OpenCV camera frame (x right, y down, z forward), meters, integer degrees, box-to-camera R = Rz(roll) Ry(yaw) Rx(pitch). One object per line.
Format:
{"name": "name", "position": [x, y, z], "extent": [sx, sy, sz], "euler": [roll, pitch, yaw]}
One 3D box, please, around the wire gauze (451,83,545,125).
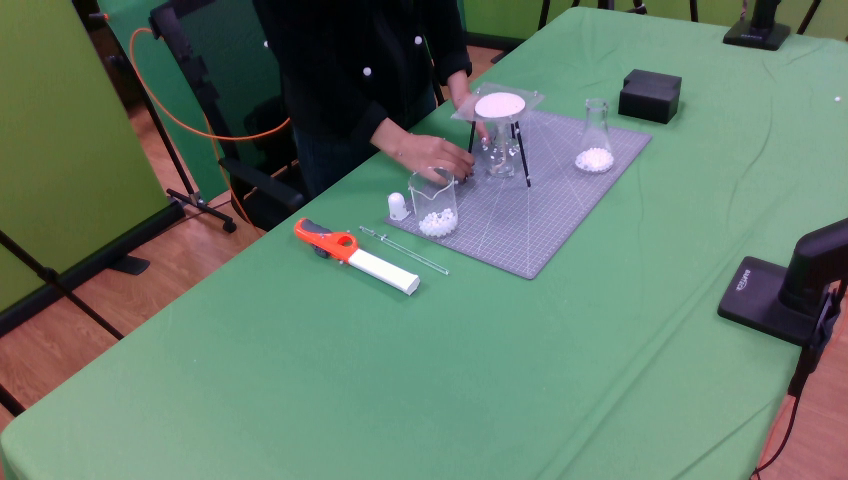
{"name": "wire gauze", "position": [0.127, -0.233, 1.038], "extent": [0.120, 0.011, 0.125], "euler": [18, 47, 29]}

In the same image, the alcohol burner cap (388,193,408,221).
{"name": "alcohol burner cap", "position": [-0.047, -0.060, 1.043], "extent": [0.034, 0.048, 0.033], "euler": [-6, 41, 5]}

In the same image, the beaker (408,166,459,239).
{"name": "beaker", "position": [0.018, -0.057, 0.984], "extent": [0.074, 0.101, 0.083], "euler": [-6, 41, 5]}

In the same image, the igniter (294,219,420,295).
{"name": "igniter", "position": [-0.118, 0.022, 0.977], "extent": [0.274, 0.025, 0.057], "euler": [24, 60, 34]}

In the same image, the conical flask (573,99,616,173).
{"name": "conical flask", "position": [0.302, -0.184, 1.061], "extent": [0.075, 0.122, 0.075], "euler": [-5, 40, 5]}

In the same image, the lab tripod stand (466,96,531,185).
{"name": "lab tripod stand", "position": [0.140, -0.181, 1.080], "extent": [0.148, 0.132, 0.147], "euler": [-6, 38, 5]}

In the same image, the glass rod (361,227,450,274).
{"name": "glass rod", "position": [-0.034, 0.015, 0.984], "extent": [0.198, 0.008, 0.008], "euler": [26, 52, 35]}

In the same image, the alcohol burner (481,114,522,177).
{"name": "alcohol burner", "position": [0.141, -0.174, 1.087], "extent": [0.078, 0.119, 0.077], "euler": [-4, 40, 4]}
